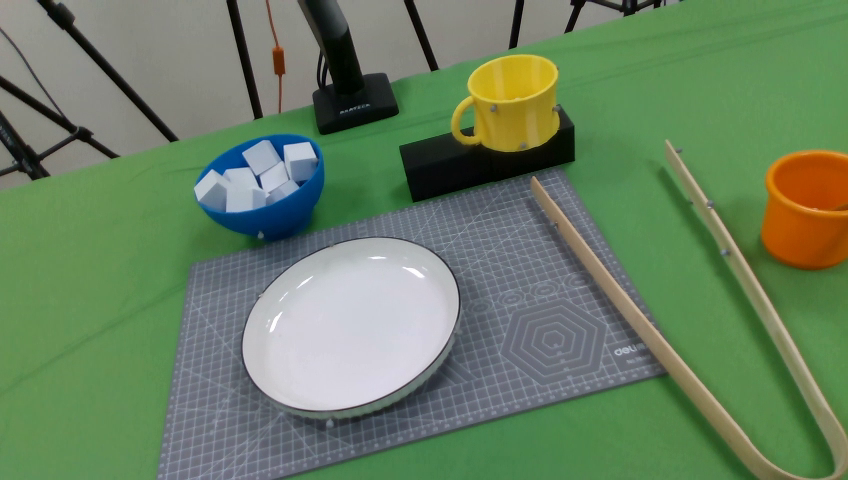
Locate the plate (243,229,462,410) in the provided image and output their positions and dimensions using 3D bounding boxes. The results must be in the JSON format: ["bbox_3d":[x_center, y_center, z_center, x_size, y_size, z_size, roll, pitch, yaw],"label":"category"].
[{"bbox_3d":[-0.064,0.073,0.575,0.207,0.039,0.205,-8,43,8],"label":"plate"}]

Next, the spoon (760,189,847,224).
[{"bbox_3d":[0.355,-0.036,0.496,0.041,0.193,0.021,-33,89,-13],"label":"spoon"}]

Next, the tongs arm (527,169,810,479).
[{"bbox_3d":[0.182,0.048,0.542,0.028,0.028,0.383,-18,44,-10],"label":"tongs arm"}]

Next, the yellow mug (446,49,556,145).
[{"bbox_3d":[0.083,-0.156,0.683,0.131,0.064,0.099,-26,44,-11],"label":"yellow mug"}]

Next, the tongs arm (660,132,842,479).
[{"bbox_3d":[0.262,0.025,0.542,0.051,0.027,0.380,-11,44,3],"label":"tongs arm"}]

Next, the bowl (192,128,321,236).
[{"bbox_3d":[-0.186,-0.058,0.719,0.151,0.077,0.150,-8,43,8],"label":"bowl"}]
